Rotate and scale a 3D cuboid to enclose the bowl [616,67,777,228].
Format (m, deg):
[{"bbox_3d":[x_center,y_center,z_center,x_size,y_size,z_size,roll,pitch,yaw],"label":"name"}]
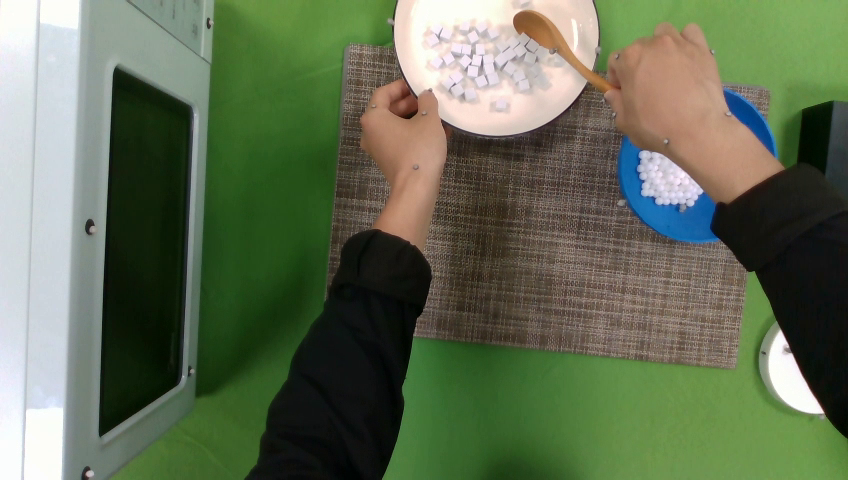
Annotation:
[{"bbox_3d":[0.258,-0.088,0.607,0.151,0.076,0.151,0,94,-1],"label":"bowl"}]

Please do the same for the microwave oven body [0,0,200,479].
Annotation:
[{"bbox_3d":[-0.385,-0.056,0.505,0.326,0.259,0.442,3,94,-2],"label":"microwave oven body"}]

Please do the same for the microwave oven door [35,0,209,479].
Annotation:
[{"bbox_3d":[-0.241,-0.006,0.507,0.039,0.243,0.356,3,93,-1],"label":"microwave oven door"}]

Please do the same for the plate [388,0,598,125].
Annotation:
[{"bbox_3d":[0.069,-0.217,0.613,0.209,0.038,0.209,0,90,-4],"label":"plate"}]

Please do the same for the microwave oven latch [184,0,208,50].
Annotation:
[{"bbox_3d":[-0.228,-0.229,0.593,0.030,0.029,0.079,3,94,-2],"label":"microwave oven latch"}]

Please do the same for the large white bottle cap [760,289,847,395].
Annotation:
[{"bbox_3d":[0.425,0.111,0.657,0.115,0.018,0.115,0,94,-2],"label":"large white bottle cap"}]

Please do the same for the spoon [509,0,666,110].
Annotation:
[{"bbox_3d":[0.150,-0.177,0.573,0.021,0.042,0.192,-35,64,-10],"label":"spoon"}]
